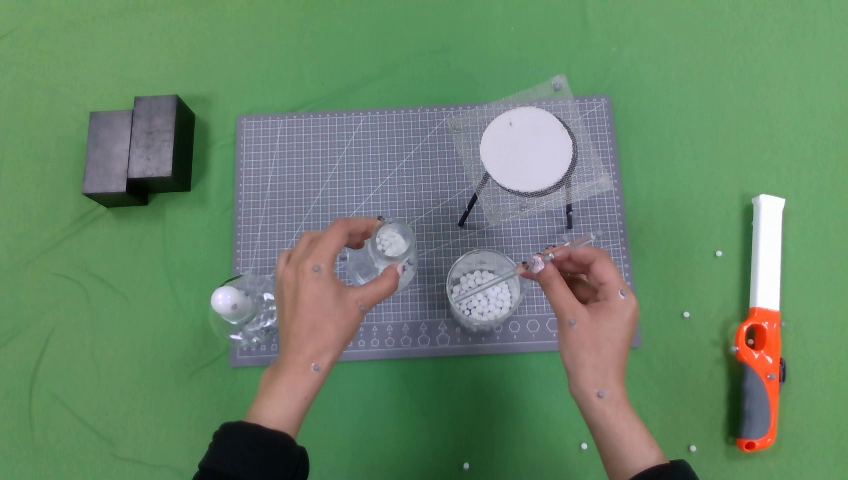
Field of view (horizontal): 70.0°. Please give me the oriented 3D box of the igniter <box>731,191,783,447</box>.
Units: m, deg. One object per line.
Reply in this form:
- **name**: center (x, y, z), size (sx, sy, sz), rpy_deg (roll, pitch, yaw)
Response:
- **igniter**: center (0.358, 0.081, 0.649), size (0.057, 0.025, 0.275), rpy_deg (11, 77, -6)

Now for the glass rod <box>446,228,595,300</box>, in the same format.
- **glass rod**: center (0.077, 0.025, 0.543), size (0.008, 0.199, 0.008), rpy_deg (14, 63, -30)

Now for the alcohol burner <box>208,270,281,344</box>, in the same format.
- **alcohol burner**: center (-0.190, 0.067, 0.624), size (0.078, 0.119, 0.077), rpy_deg (0, 78, 1)

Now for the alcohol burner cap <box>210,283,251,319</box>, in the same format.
- **alcohol burner cap**: center (-0.190, 0.057, 0.589), size (0.034, 0.048, 0.033), rpy_deg (1, 74, -2)

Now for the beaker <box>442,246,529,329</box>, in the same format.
- **beaker**: center (0.061, 0.053, 0.627), size (0.084, 0.101, 0.073), rpy_deg (-5, 76, 0)

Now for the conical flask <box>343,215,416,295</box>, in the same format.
- **conical flask**: center (-0.037, 0.009, 0.571), size (0.075, 0.122, 0.075), rpy_deg (2, 79, -9)

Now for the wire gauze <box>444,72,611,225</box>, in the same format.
- **wire gauze**: center (0.096, -0.086, 0.571), size (0.125, 0.011, 0.121), rpy_deg (-19, 78, -2)

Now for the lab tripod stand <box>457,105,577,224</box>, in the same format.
- **lab tripod stand**: center (0.100, -0.069, 0.636), size (0.148, 0.132, 0.147), rpy_deg (0, 78, 3)
